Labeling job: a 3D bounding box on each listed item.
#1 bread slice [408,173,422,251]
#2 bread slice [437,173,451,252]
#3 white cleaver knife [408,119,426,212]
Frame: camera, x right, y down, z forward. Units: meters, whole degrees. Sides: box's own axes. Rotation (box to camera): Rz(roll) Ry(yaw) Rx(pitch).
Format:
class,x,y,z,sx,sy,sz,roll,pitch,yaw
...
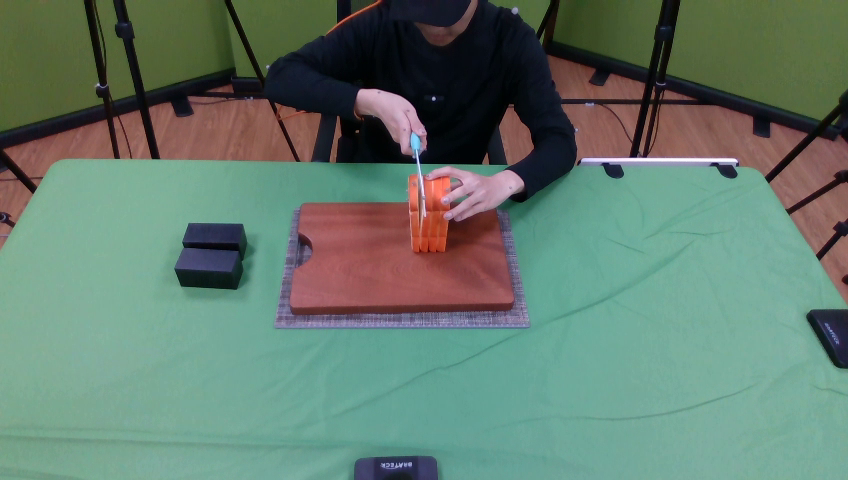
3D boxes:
class,x,y,z,sx,sy,sz,roll,pitch,yaw
bread slice,-0.017,-0.060,1.137,0.019,0.132,0.104,-5,46,0
bread slice,0.037,-0.057,1.137,0.018,0.135,0.106,0,48,-3
white cleaver knife,-0.013,-0.143,1.135,0.021,0.066,0.284,-4,38,-1
